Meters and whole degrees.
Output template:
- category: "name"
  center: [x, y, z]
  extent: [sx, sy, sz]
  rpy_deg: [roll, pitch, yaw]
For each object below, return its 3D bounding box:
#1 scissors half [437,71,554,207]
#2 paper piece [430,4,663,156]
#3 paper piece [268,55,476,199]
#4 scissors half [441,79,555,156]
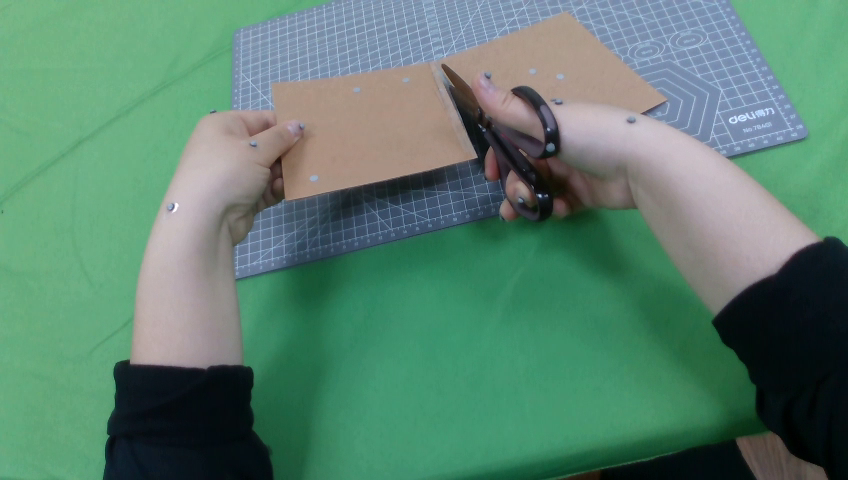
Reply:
- category: "scissors half"
  center: [0.044, -0.080, 0.435]
  extent: [0.013, 0.040, 0.173]
  rpy_deg: [-19, 49, -13]
- category: "paper piece"
  center: [0.095, -0.132, 0.488]
  extent: [0.135, 0.004, 0.134]
  rpy_deg: [-26, 61, -13]
- category: "paper piece"
  center: [-0.045, -0.092, 0.453]
  extent: [0.138, 0.009, 0.134]
  rpy_deg: [-14, 45, -4]
- category: "scissors half"
  center: [0.042, -0.097, 0.422]
  extent: [0.013, 0.040, 0.173]
  rpy_deg: [-15, 26, -16]
